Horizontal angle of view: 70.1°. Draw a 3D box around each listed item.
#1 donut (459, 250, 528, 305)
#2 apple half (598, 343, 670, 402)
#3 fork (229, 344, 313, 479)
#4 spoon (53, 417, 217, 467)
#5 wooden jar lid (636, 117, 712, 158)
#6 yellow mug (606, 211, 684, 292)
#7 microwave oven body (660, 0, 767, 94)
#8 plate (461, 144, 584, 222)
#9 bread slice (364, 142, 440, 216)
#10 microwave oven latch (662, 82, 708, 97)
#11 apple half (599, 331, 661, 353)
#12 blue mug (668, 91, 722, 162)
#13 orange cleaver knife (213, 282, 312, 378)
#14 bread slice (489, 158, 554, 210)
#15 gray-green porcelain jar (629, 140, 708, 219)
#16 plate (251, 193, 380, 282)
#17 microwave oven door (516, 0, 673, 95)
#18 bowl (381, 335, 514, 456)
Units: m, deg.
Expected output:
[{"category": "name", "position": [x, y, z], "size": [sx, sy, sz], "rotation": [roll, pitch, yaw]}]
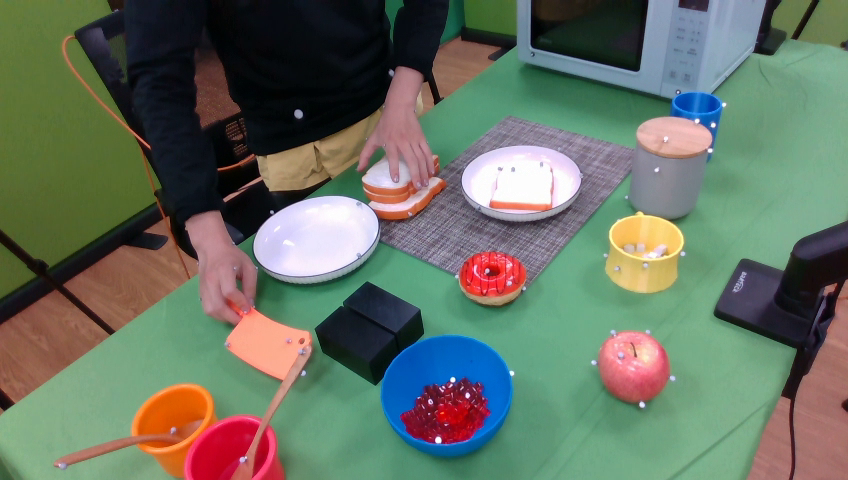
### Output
[{"category": "donut", "position": [0.100, 0.053, 0.872], "size": [0.099, 0.048, 0.098], "rotation": [-4, 40, 4]}, {"category": "apple half", "position": [0.247, 0.161, 0.710], "size": [0.081, 0.075, 0.053], "rotation": [2, 47, 5]}, {"category": "fork", "position": [-0.173, 0.205, 0.661], "size": [0.028, 0.019, 0.207], "rotation": [29, 94, 36]}, {"category": "spoon", "position": [-0.308, 0.219, 0.663], "size": [0.041, 0.195, 0.021], "rotation": [24, 94, 29]}, {"category": "wooden jar lid", "position": [0.377, -0.151, 0.917], "size": [0.108, 0.021, 0.108], "rotation": [-2, 42, 2]}, {"category": "yellow mug", "position": [0.318, 0.008, 0.883], "size": [0.100, 0.064, 0.130], "rotation": [0, 40, 9]}, {"category": "microwave oven body", "position": [0.473, -0.517, 1.314], "size": [0.438, 0.261, 0.327], "rotation": [26, 51, 34]}, {"category": "plate", "position": [0.168, -0.095, 1.040], "size": [0.207, 0.039, 0.206], "rotation": [-4, 40, 4]}, {"category": "bread slice", "position": [-0.048, -0.105, 1.039], "size": [0.106, 0.018, 0.134], "rotation": [18, 74, 22]}, {"category": "microwave oven latch", "position": [0.518, -0.298, 1.203], "size": [0.078, 0.029, 0.030], "rotation": [28, 53, 35]}, {"category": "apple half", "position": [0.249, 0.134, 0.738], "size": [0.081, 0.081, 0.032], "rotation": [-1, 46, 7]}, {"category": "blue mug", "position": [0.474, -0.207, 1.079], "size": [0.082, 0.106, 0.116], "rotation": [4, 42, 13]}, {"category": "orange cleaver knife", "position": [-0.236, 0.120, 0.829], "size": [0.209, 0.012, 0.077], "rotation": [25, 68, 32]}, {"category": "bread slice", "position": [0.172, -0.099, 1.047], "size": [0.104, 0.019, 0.131], "rotation": [4, 43, 12]}, {"category": "gray-green porcelain jar", "position": [0.383, -0.105, 0.958], "size": [0.106, 0.127, 0.105], "rotation": [-4, 41, 4]}, {"category": "plate", "position": [-0.173, -0.001, 0.984], "size": [0.209, 0.038, 0.208], "rotation": [-4, 40, 4]}, {"category": "microwave oven door", "position": [0.344, -0.458, 1.256], "size": [0.353, 0.245, 0.039], "rotation": [26, 51, 33]}, {"category": "bowl", "position": [0.029, 0.192, 0.701], "size": [0.151, 0.077, 0.150], "rotation": [-4, 40, 4]}]
